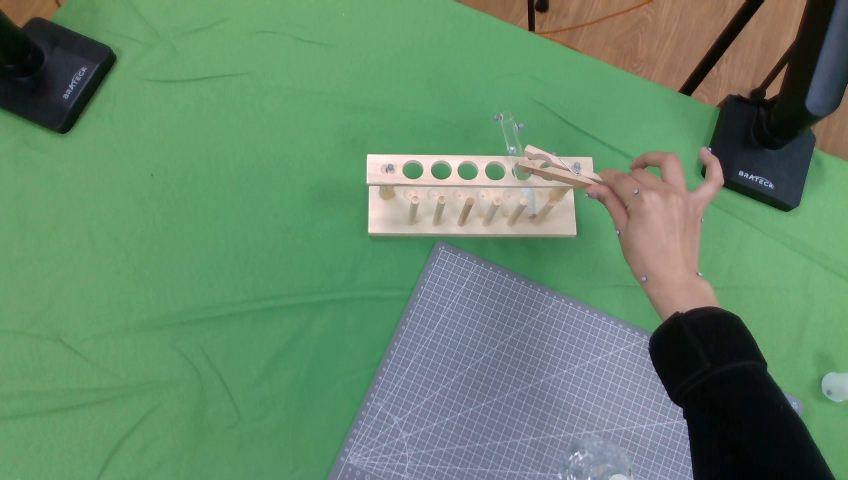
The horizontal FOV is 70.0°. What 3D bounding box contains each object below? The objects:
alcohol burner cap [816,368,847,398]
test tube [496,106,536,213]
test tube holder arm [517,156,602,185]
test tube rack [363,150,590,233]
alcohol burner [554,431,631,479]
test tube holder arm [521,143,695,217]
[{"bbox_3d":[0.464,0.157,0.671,0.034,0.048,0.033,1,74,-3],"label":"alcohol burner cap"},{"bbox_3d":[0.099,-0.080,0.642,0.017,0.152,0.017,-11,50,14],"label":"test tube"},{"bbox_3d":[0.137,-0.070,0.613,0.087,0.015,0.010,14,83,15],"label":"test tube holder arm"},{"bbox_3d":[0.055,-0.052,0.675,0.243,0.085,0.066,0,74,-4],"label":"test tube rack"},{"bbox_3d":[0.170,0.228,0.593,0.078,0.119,0.077,1,76,-4],"label":"alcohol burner"},{"bbox_3d":[0.180,-0.061,0.602,0.177,0.015,0.013,23,86,15],"label":"test tube holder arm"}]
